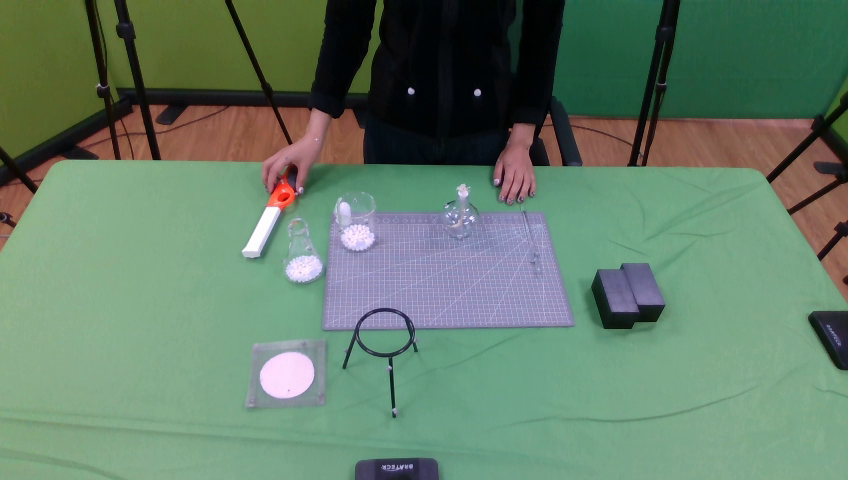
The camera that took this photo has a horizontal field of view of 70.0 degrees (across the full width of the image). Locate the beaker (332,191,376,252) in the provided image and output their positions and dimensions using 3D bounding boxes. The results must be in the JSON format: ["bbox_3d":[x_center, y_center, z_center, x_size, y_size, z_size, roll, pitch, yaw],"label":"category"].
[{"bbox_3d":[-0.133,-0.032,1.163,0.084,0.101,0.073,-19,50,-20],"label":"beaker"}]

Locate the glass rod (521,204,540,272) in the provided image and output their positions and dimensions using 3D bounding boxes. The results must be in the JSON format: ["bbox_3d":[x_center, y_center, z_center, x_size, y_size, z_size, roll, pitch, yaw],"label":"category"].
[{"bbox_3d":[0.215,-0.008,1.230,0.008,0.008,0.198,0,43,-3],"label":"glass rod"}]

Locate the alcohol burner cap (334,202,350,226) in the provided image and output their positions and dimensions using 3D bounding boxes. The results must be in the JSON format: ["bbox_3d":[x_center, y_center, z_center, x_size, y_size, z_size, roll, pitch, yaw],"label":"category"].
[{"bbox_3d":[-0.166,-0.055,1.223,0.034,0.048,0.033,2,46,-2],"label":"alcohol burner cap"}]

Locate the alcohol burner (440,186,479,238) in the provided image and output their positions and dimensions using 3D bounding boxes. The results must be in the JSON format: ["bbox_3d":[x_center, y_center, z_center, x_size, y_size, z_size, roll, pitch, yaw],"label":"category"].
[{"bbox_3d":[0.072,-0.062,1.198,0.078,0.119,0.077,3,47,-3],"label":"alcohol burner"}]

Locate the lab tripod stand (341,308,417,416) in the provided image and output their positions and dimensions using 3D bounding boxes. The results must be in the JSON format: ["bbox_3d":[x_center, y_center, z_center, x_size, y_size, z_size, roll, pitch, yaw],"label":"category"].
[{"bbox_3d":[-0.061,0.177,0.946,0.148,0.132,0.147,2,44,-2],"label":"lab tripod stand"}]

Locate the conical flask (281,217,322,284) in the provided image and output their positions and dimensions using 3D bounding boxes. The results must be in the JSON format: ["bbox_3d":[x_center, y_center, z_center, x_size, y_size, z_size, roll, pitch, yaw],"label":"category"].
[{"bbox_3d":[-0.225,0.016,1.097,0.075,0.122,0.075,2,46,-2],"label":"conical flask"}]

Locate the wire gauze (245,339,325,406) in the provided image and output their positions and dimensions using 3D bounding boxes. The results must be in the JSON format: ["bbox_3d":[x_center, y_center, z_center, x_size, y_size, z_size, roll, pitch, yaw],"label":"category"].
[{"bbox_3d":[-0.224,0.214,0.984,0.125,0.011,0.120,-2,46,-5],"label":"wire gauze"}]

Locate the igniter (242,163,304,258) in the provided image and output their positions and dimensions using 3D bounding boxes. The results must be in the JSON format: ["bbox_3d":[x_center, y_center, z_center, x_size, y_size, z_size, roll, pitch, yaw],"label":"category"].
[{"bbox_3d":[-0.305,-0.069,1.239,0.057,0.025,0.275,2,45,12],"label":"igniter"}]
